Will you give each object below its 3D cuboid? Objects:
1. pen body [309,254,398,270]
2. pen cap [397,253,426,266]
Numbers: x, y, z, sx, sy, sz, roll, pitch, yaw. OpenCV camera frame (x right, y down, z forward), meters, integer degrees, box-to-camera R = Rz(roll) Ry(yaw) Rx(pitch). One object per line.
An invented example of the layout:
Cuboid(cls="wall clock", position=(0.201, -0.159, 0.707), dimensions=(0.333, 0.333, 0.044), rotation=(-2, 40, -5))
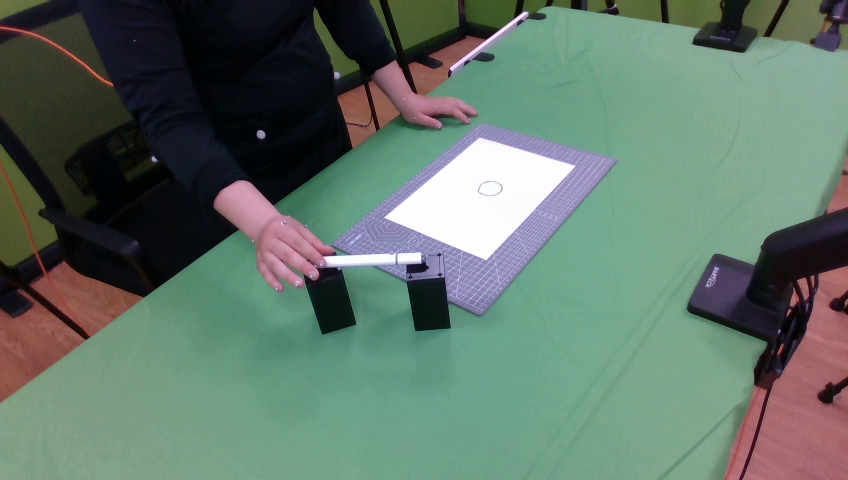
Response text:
Cuboid(cls="pen body", position=(-0.080, 0.030, 0.798), dimensions=(0.144, 0.017, 0.017), rotation=(-4, 40, 7))
Cuboid(cls="pen cap", position=(-0.016, 0.026, 0.792), dimensions=(0.038, 0.017, 0.017), rotation=(-2, 40, 3))
